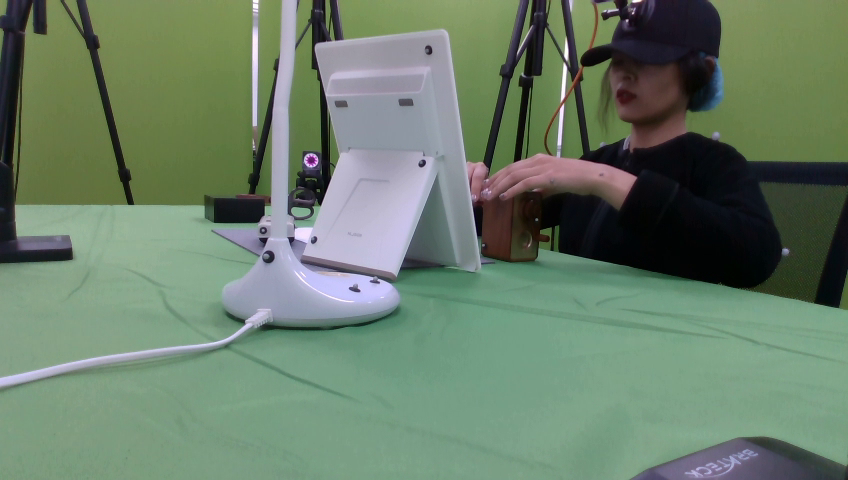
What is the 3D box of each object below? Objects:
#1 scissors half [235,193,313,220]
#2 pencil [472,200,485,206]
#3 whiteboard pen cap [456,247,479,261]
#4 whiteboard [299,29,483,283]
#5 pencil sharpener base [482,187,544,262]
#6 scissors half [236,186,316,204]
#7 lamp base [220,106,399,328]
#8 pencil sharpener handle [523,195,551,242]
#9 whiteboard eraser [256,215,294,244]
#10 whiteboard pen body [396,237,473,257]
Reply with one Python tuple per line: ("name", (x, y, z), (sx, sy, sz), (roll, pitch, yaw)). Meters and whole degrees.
("scissors half", (-0.324, -0.077, 1.319), (0.176, 0.040, 0.012), (17, 6, -31))
("pencil", (0.091, -0.060, 0.978), (0.012, 0.012, 0.193), (-3, 8, -35))
("whiteboard pen cap", (0.060, 0.020, 0.850), (0.033, 0.018, 0.018), (9, 10, 37))
("whiteboard", (-0.074, -0.082, 0.742), (0.216, 0.305, 0.144), (9, 30, 38))
("pencil sharpener base", (0.135, -0.024, 0.913), (0.062, 0.107, 0.076), (-2, 9, -35))
("scissors half", (-0.320, -0.097, 1.316), (0.176, 0.040, 0.013), (-3, 11, -29))
("lamp base", (-0.101, -0.023, 0.531), (0.160, 0.180, 0.179), (4, 10, 10))
("pencil sharpener handle", (0.167, -0.030, 0.872), (0.036, 0.068, 0.030), (-16, 17, -32))
("whiteboard eraser", (-0.232, -0.016, 0.951), (0.056, 0.042, 0.112), (2, 7, -12))
("whiteboard pen body", (0.014, 0.012, 0.886), (0.140, 0.017, 0.017), (9, 10, 38))
